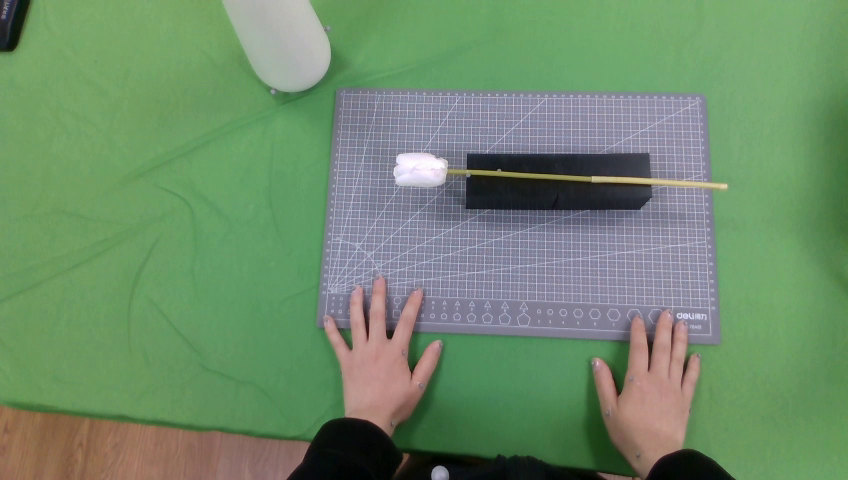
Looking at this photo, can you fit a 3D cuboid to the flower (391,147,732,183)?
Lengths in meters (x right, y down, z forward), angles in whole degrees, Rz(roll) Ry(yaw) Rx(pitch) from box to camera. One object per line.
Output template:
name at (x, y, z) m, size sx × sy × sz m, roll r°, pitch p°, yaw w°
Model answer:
flower at (0.143, -0.075, 0.658) m, size 0.361 × 0.038 × 0.043 m, roll 4°, pitch 44°, yaw 8°

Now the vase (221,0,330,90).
vase at (-0.168, -0.251, 0.673) m, size 0.098 × 0.201 × 0.097 m, roll -1°, pitch 75°, yaw 3°
